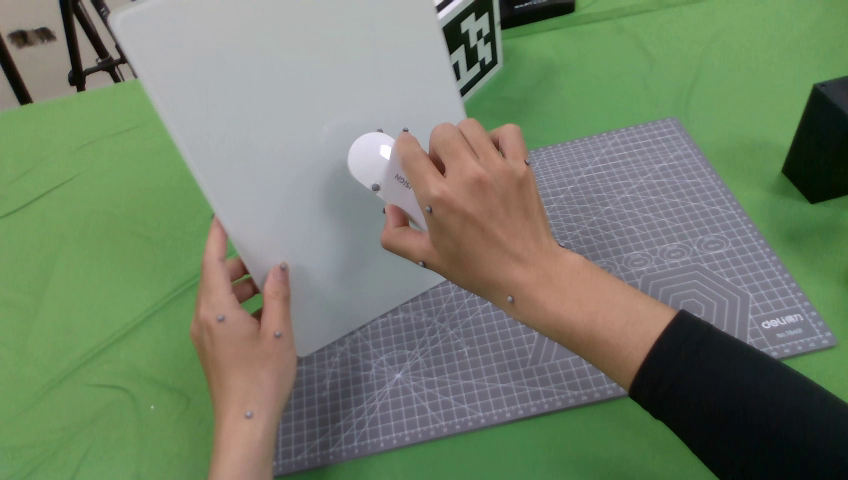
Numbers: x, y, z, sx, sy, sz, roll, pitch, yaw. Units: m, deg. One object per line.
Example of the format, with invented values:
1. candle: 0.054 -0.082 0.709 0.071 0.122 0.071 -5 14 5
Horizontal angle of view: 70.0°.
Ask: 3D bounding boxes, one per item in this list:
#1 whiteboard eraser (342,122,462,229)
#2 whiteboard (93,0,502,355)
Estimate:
1. whiteboard eraser: -0.016 -0.047 0.449 0.102 0.019 0.041 38 83 -12
2. whiteboard: -0.093 -0.098 0.532 0.217 0.308 0.142 -29 31 -12
